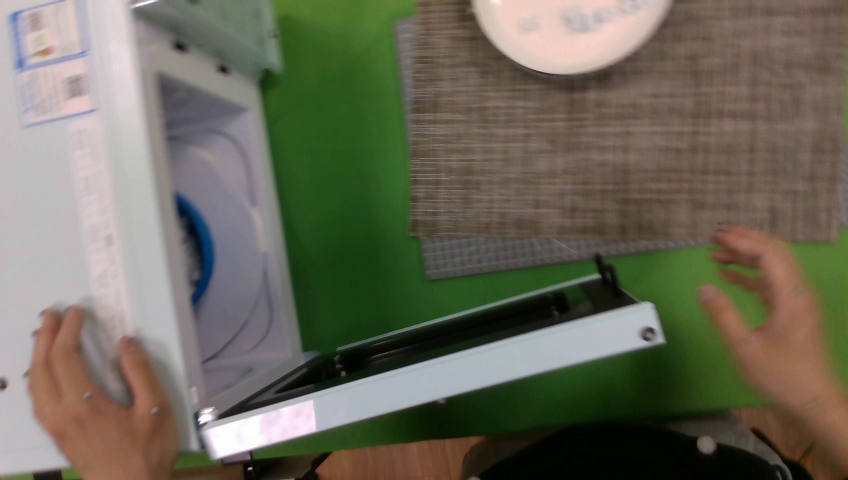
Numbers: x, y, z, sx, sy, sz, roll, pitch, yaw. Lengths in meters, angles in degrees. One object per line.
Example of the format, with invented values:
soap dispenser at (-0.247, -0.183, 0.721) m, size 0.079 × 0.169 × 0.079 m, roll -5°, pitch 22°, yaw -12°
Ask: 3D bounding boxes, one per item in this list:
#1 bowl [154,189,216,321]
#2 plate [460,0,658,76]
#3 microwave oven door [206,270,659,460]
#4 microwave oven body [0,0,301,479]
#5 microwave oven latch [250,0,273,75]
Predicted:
bowl at (-0.282, 0.020, 0.643) m, size 0.151 × 0.077 × 0.151 m, roll 0°, pitch 92°, yaw 8°
plate at (0.142, -0.274, 0.637) m, size 0.209 × 0.038 × 0.209 m, roll 0°, pitch 91°, yaw 10°
microwave oven door at (0.016, 0.105, 0.560) m, size 0.355 × 0.244 × 0.039 m, roll -18°, pitch 88°, yaw 10°
microwave oven body at (-0.322, -0.026, 0.617) m, size 0.325 × 0.260 × 0.441 m, roll -11°, pitch 91°, yaw 10°
microwave oven latch at (-0.193, -0.229, 0.683) m, size 0.030 × 0.029 × 0.079 m, roll -10°, pitch 91°, yaw 10°
